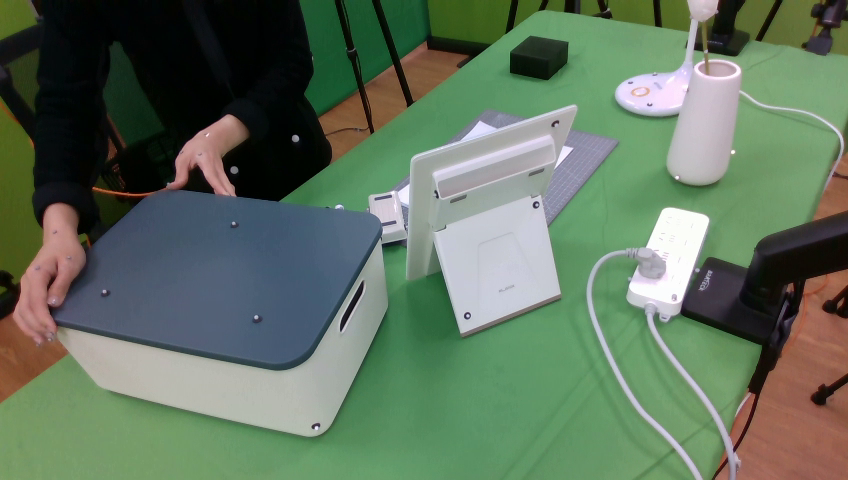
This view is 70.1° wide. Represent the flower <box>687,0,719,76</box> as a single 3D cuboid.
[{"bbox_3d":[0.436,-0.242,0.934,0.038,0.364,0.043,-24,49,9],"label":"flower"}]

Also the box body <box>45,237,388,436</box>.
[{"bbox_3d":[-0.251,0.088,0.799,0.362,0.161,0.254,7,42,16],"label":"box body"}]

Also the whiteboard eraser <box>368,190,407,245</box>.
[{"bbox_3d":[-0.061,-0.035,1.006,0.056,0.042,0.112,-9,40,-3],"label":"whiteboard eraser"}]

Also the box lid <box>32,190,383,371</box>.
[{"bbox_3d":[-0.257,0.032,0.750,0.370,0.015,0.263,7,42,16],"label":"box lid"}]

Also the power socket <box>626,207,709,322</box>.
[{"bbox_3d":[0.360,0.026,0.886,0.072,0.033,0.227,17,46,27],"label":"power socket"}]

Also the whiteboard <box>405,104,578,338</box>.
[{"bbox_3d":[0.102,0.003,0.787,0.218,0.306,0.143,-19,62,-14],"label":"whiteboard"}]

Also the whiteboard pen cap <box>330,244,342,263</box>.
[{"bbox_3d":[-0.142,0.021,0.975,0.018,0.018,0.033,-7,39,0],"label":"whiteboard pen cap"}]

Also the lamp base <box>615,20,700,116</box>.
[{"bbox_3d":[0.484,-0.364,1.211,0.180,0.181,0.159,-15,41,-14],"label":"lamp base"}]

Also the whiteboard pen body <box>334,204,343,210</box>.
[{"bbox_3d":[-0.146,-0.016,1.020,0.017,0.017,0.140,-6,40,1],"label":"whiteboard pen body"}]

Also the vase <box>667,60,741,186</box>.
[{"bbox_3d":[0.463,-0.189,0.994,0.098,0.201,0.097,-4,40,3],"label":"vase"}]

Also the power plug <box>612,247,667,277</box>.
[{"bbox_3d":[0.306,0.031,0.852,0.072,0.053,0.035,21,48,37],"label":"power plug"}]
